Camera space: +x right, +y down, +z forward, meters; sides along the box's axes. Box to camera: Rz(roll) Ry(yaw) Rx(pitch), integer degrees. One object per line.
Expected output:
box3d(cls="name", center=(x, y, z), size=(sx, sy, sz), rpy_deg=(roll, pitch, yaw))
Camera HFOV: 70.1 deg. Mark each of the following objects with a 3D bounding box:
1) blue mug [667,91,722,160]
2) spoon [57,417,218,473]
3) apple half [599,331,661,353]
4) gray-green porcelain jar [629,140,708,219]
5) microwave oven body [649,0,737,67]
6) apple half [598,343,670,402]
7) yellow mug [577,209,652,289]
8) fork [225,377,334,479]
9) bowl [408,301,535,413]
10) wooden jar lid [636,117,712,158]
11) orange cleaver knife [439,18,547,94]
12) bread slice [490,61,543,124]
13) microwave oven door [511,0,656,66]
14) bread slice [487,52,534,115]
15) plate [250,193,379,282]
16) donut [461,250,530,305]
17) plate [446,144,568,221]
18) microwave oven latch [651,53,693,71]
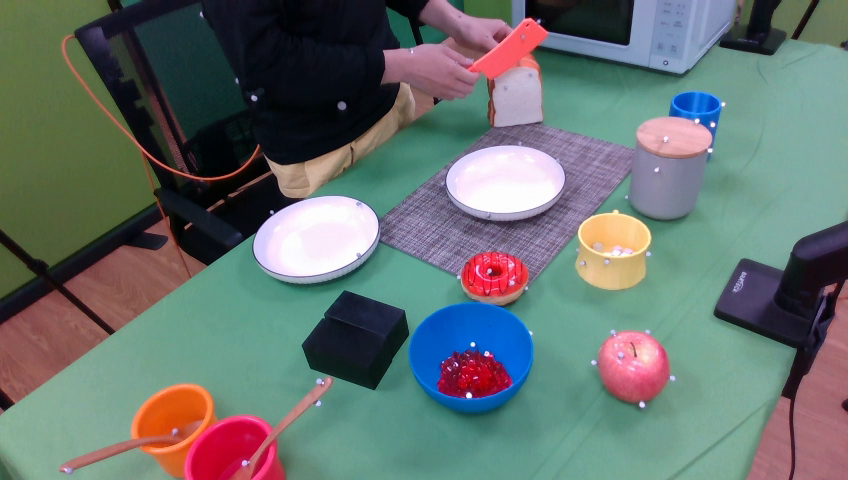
box3d(cls="blue mug", center=(0.474, -0.207, 1.079), size=(0.082, 0.106, 0.116), rpy_deg=(4, 42, 13))
box3d(cls="spoon", center=(-0.304, 0.221, 0.661), size=(0.041, 0.195, 0.021), rpy_deg=(19, 92, 27))
box3d(cls="apple half", center=(0.249, 0.134, 0.738), size=(0.081, 0.081, 0.032), rpy_deg=(-2, 46, 7))
box3d(cls="gray-green porcelain jar", center=(0.383, -0.105, 0.958), size=(0.106, 0.127, 0.105), rpy_deg=(-4, 41, 4))
box3d(cls="microwave oven body", center=(0.475, -0.602, 1.411), size=(0.438, 0.261, 0.327), rpy_deg=(23, 50, 32))
box3d(cls="apple half", center=(0.247, 0.161, 0.710), size=(0.081, 0.075, 0.053), rpy_deg=(2, 47, 5))
box3d(cls="yellow mug", center=(0.279, 0.004, 0.893), size=(0.099, 0.064, 0.130), rpy_deg=(5, 41, 15))
box3d(cls="fork", center=(-0.163, 0.216, 0.646), size=(0.207, 0.019, 0.028), rpy_deg=(-49, 42, 16))
box3d(cls="bowl", center=(0.060, 0.156, 0.739), size=(0.151, 0.077, 0.150), rpy_deg=(-4, 40, 4))
box3d(cls="wooden jar lid", center=(0.377, -0.151, 0.917), size=(0.108, 0.021, 0.108), rpy_deg=(-2, 41, 3))
box3d(cls="orange cleaver knife", center=(0.125, -0.321, 1.088), size=(0.211, 0.078, 0.012), rpy_deg=(-33, 59, 15))
box3d(cls="bread slice", center=(0.181, -0.288, 1.191), size=(0.105, 0.132, 0.019), rpy_deg=(-8, 43, 4))
box3d(cls="microwave oven door", center=(0.351, -0.540, 1.349), size=(0.353, 0.245, 0.039), rpy_deg=(24, 50, 31))
box3d(cls="bread slice", center=(0.182, -0.319, 1.232), size=(0.107, 0.135, 0.018), rpy_deg=(-6, 42, 0))
box3d(cls="plate", center=(-0.174, -0.001, 0.984), size=(0.209, 0.038, 0.208), rpy_deg=(-4, 40, 3))
box3d(cls="donut", center=(0.103, 0.053, 0.872), size=(0.099, 0.048, 0.098), rpy_deg=(-5, 40, 4))
box3d(cls="plate", center=(0.142, -0.096, 1.045), size=(0.207, 0.039, 0.206), rpy_deg=(-4, 40, 4))
box3d(cls="microwave oven latch", center=(0.532, -0.386, 1.301), size=(0.078, 0.029, 0.030), rpy_deg=(26, 52, 34))
